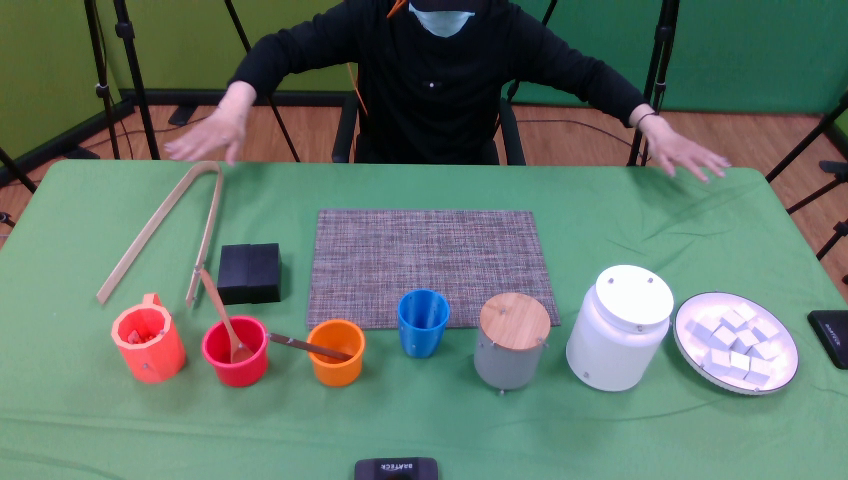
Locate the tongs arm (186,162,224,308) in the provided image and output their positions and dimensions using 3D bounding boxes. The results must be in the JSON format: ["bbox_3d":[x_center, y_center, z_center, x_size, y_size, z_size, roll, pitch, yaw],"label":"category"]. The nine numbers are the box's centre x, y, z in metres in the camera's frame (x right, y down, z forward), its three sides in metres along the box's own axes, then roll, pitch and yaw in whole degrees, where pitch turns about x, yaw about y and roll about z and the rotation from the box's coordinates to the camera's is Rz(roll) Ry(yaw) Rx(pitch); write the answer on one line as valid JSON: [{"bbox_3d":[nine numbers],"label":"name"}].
[{"bbox_3d":[-0.435,-0.025,1.181,0.051,0.027,0.382,-3,45,1],"label":"tongs arm"}]

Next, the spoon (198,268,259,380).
[{"bbox_3d":[-0.312,0.132,0.962,0.041,0.021,0.194,-24,96,-22],"label":"spoon"}]

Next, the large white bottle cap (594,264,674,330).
[{"bbox_3d":[0.314,0.083,0.906,0.115,0.018,0.114,2,46,-2],"label":"large white bottle cap"}]

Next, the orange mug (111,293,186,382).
[{"bbox_3d":[-0.435,0.149,0.969,0.083,0.101,0.125,-5,51,-8],"label":"orange mug"}]

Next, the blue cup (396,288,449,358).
[{"bbox_3d":[-0.006,0.144,1.002,0.093,0.101,0.092,3,46,-3],"label":"blue cup"}]

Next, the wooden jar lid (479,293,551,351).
[{"bbox_3d":[0.138,0.127,0.925,0.108,0.021,0.107,1,47,0],"label":"wooden jar lid"}]

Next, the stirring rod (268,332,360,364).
[{"bbox_3d":[-0.167,0.169,0.941,0.177,0.006,0.014,26,27,-41],"label":"stirring rod"}]

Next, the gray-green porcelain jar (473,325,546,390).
[{"bbox_3d":[0.135,0.170,0.969,0.106,0.127,0.105,2,46,-2],"label":"gray-green porcelain jar"}]

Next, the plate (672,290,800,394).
[{"bbox_3d":[0.533,0.178,1.050,0.208,0.039,0.206,2,46,-2],"label":"plate"}]

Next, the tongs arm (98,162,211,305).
[{"bbox_3d":[-0.519,-0.027,1.184,0.028,0.028,0.385,5,45,13],"label":"tongs arm"}]

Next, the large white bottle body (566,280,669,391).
[{"bbox_3d":[0.310,0.142,0.968,0.131,0.185,0.130,2,46,-2],"label":"large white bottle body"}]
